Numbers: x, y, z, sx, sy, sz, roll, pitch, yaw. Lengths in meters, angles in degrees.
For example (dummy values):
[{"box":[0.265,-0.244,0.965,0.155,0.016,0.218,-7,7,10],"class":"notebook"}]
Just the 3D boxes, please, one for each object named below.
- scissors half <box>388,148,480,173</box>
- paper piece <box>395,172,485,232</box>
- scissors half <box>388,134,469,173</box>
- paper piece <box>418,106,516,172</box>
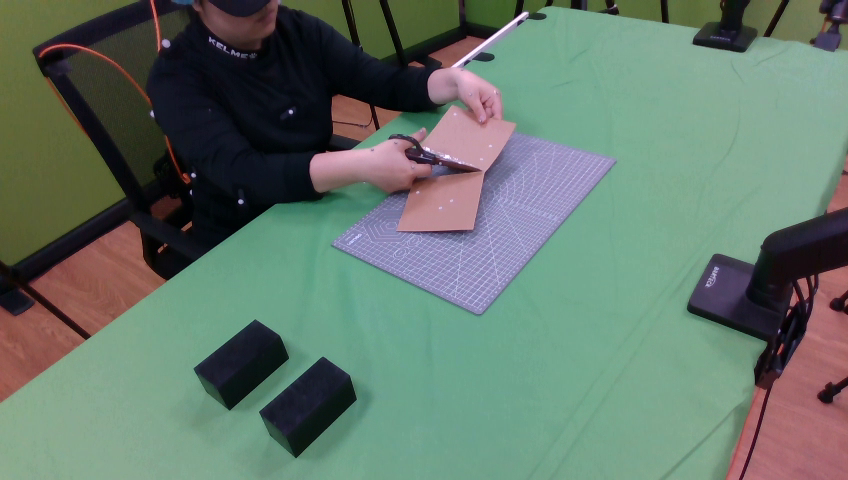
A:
[{"box":[0.018,-0.134,1.067,0.174,0.040,0.013,12,56,16],"class":"scissors half"},{"box":[0.029,-0.065,1.022,0.135,0.004,0.135,-2,47,20],"class":"paper piece"},{"box":[0.019,-0.145,1.050,0.175,0.040,0.013,23,63,-2],"class":"scissors half"},{"box":[0.080,-0.186,1.098,0.135,0.008,0.138,28,51,12],"class":"paper piece"}]
